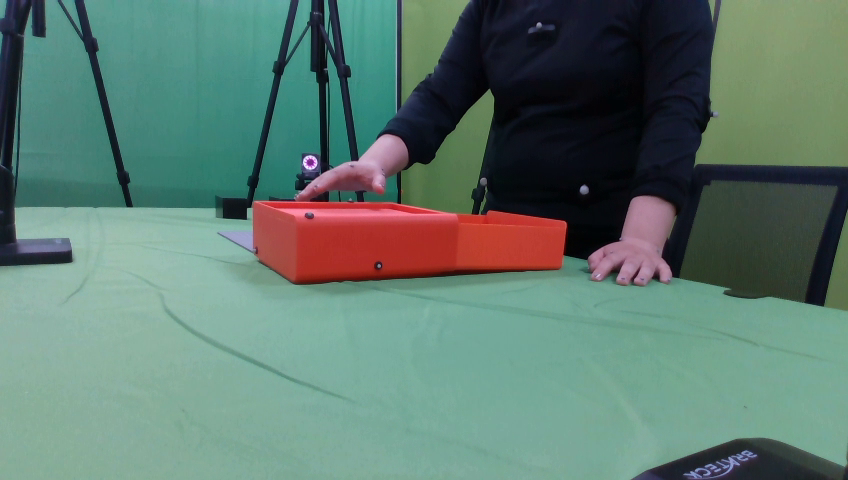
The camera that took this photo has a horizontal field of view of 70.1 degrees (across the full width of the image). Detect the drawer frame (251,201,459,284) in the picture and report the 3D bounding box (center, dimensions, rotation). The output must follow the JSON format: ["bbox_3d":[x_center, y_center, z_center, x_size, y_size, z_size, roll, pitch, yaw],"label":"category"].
[{"bbox_3d":[-0.095,-0.005,0.788,0.215,0.082,0.200,-3,10,-30],"label":"drawer frame"}]

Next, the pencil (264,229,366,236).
[{"bbox_3d":[-0.195,-0.013,1.108,0.195,0.012,0.012,1,7,-28],"label":"pencil"}]

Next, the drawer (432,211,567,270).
[{"bbox_3d":[0.063,-0.005,0.878,0.213,0.073,0.193,1,7,-30],"label":"drawer"}]
